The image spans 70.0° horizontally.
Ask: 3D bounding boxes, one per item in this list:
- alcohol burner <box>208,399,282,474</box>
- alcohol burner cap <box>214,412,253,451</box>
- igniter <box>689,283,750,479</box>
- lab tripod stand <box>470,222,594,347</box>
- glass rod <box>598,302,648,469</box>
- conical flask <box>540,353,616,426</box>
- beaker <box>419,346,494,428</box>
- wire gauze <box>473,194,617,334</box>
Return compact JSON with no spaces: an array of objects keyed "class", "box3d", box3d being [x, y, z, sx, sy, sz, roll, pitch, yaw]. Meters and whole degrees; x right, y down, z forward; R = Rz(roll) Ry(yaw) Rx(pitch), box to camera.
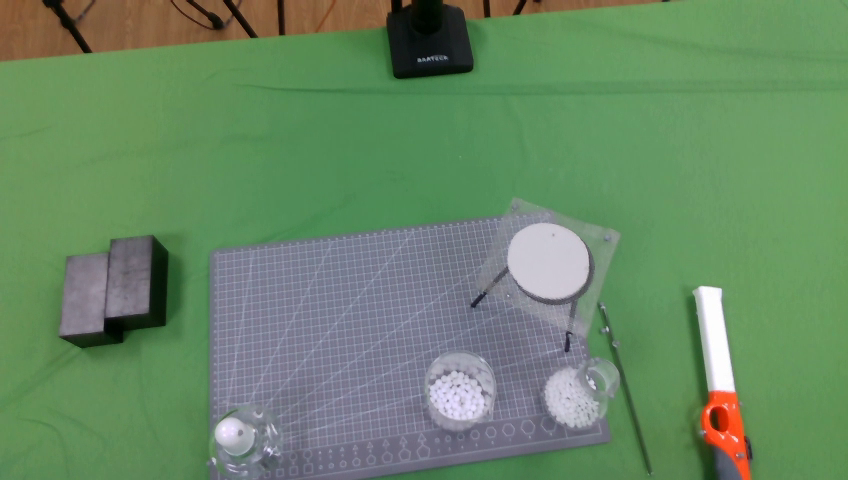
[{"class":"alcohol burner","box3d":[-0.191,0.203,0.632,0.078,0.120,0.077,0,68,0]},{"class":"alcohol burner cap","box3d":[-0.191,0.187,0.600,0.034,0.048,0.033,2,59,-3]},{"class":"igniter","box3d":[0.341,0.182,0.703,0.057,0.025,0.274,7,66,-9]},{"class":"lab tripod stand","box3d":[0.130,0.048,0.695,0.148,0.132,0.147,0,68,0]},{"class":"glass rod","box3d":[0.234,0.167,0.717,0.008,0.008,0.198,-7,67,-5]},{"class":"conical flask","box3d":[0.172,0.155,0.656,0.075,0.122,0.075,0,66,-1]},{"class":"beaker","box3d":[0.036,0.166,0.661,0.074,0.101,0.083,-41,73,-16]},{"class":"wire gauze","box3d":[0.128,0.020,0.634,0.125,0.011,0.121,23,70,9]}]
